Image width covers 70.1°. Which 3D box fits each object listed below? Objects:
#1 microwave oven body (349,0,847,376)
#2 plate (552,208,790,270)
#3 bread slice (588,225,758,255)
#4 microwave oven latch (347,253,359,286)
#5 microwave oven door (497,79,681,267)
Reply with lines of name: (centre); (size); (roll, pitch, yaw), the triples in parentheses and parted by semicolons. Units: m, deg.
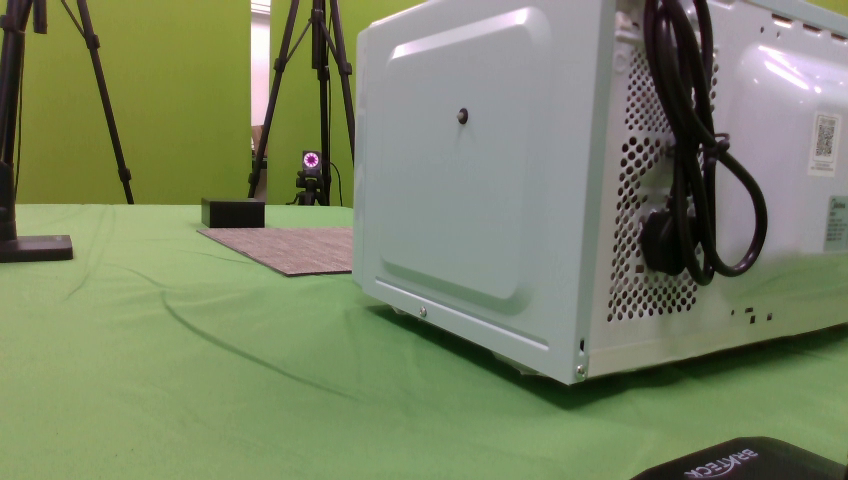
microwave oven body: (0.199, -0.053, 0.540); (0.444, 0.260, 0.324); (-1, 7, -32)
plate: (0.225, -0.004, 0.572); (0.209, 0.038, 0.209); (3, 8, 0)
bread slice: (0.225, -0.001, 0.569); (0.132, 0.019, 0.104); (1, 6, -23)
microwave oven latch: (-0.034, 0.028, 0.581); (0.079, 0.029, 0.030); (-1, 7, -31)
microwave oven door: (0.229, -0.105, 0.923); (0.039, 0.243, 0.354); (-1, 8, -27)
